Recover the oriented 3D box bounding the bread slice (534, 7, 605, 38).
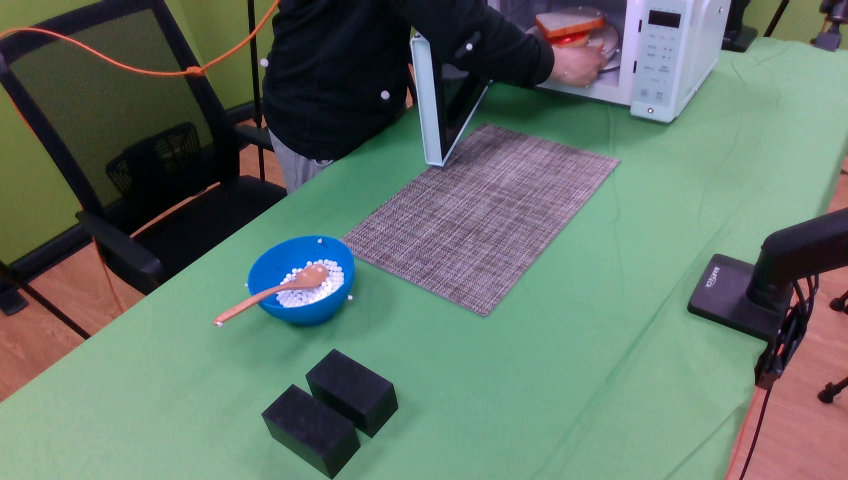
[{"bbox_3d":[0.302,-0.451,1.243,0.132,0.019,0.104,-12,39,-2],"label":"bread slice"}]

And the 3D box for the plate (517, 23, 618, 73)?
[{"bbox_3d":[0.302,-0.409,1.282,0.207,0.039,0.206,-6,44,6],"label":"plate"}]

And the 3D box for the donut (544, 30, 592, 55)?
[{"bbox_3d":[0.300,-0.423,1.259,0.099,0.048,0.098,-9,44,9],"label":"donut"}]

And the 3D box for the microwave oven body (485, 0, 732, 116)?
[{"bbox_3d":[0.377,-0.463,1.267,0.438,0.261,0.327,21,49,30],"label":"microwave oven body"}]

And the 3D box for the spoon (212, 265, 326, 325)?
[{"bbox_3d":[-0.207,0.072,0.822,0.041,0.021,0.195,27,29,27],"label":"spoon"}]

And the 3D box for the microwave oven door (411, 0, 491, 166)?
[{"bbox_3d":[0.063,-0.342,1.164,0.039,0.245,0.355,9,43,18],"label":"microwave oven door"}]

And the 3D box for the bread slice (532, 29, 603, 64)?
[{"bbox_3d":[0.308,-0.413,1.279,0.134,0.018,0.106,-19,51,-6],"label":"bread slice"}]

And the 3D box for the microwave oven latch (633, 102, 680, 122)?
[{"bbox_3d":[0.444,-0.249,1.157,0.078,0.029,0.030,21,49,30],"label":"microwave oven latch"}]

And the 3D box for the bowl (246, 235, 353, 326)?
[{"bbox_3d":[-0.170,0.070,0.868,0.151,0.077,0.150,-4,41,4],"label":"bowl"}]
